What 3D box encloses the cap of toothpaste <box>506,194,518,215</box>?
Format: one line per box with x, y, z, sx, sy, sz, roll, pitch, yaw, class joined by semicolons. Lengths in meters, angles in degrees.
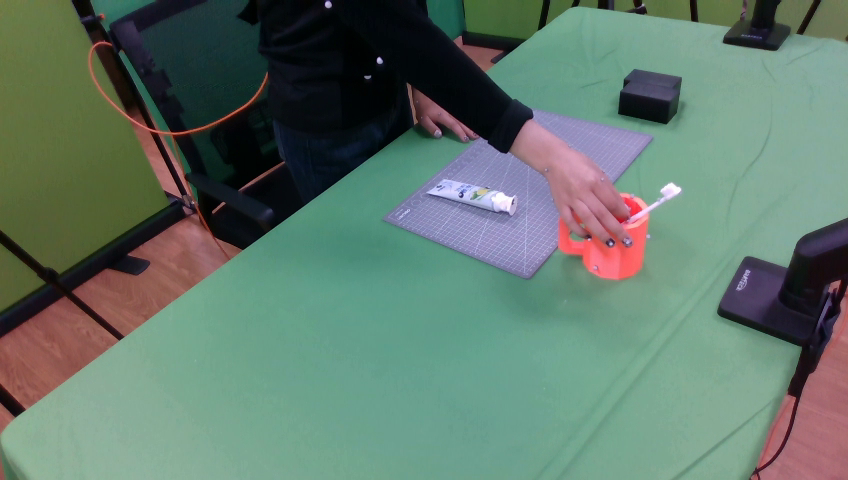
0.146;-0.059;1.008;0.011;0.037;0.037;14;46;22;cap of toothpaste

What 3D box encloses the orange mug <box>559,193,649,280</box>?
0.261;-0.008;0.884;0.126;0.101;0.083;9;43;14;orange mug

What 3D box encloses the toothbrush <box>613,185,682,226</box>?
0.291;-0.033;0.845;0.017;0.181;0.014;30;62;-7;toothbrush

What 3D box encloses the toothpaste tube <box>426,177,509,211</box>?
0.083;-0.081;1.054;0.164;0.034;0.055;18;40;34;toothpaste tube
